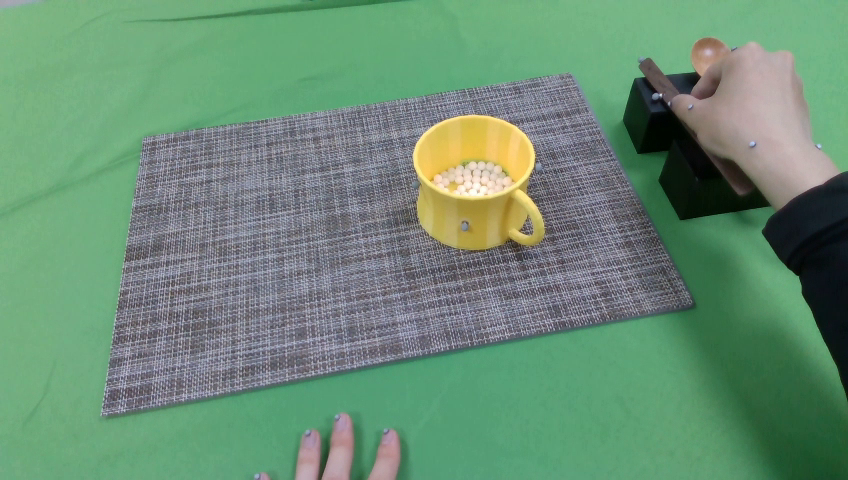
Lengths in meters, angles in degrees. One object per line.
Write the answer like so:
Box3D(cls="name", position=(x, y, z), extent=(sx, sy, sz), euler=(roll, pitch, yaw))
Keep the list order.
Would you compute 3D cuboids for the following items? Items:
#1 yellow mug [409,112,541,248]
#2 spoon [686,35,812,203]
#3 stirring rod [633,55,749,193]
Box3D(cls="yellow mug", position=(0.049, -0.043, 0.508), extent=(0.100, 0.064, 0.129), euler=(-36, 60, -23))
Box3D(cls="spoon", position=(0.277, -0.110, 0.520), extent=(0.041, 0.022, 0.191), euler=(-11, 55, -4))
Box3D(cls="stirring rod", position=(0.225, -0.105, 0.522), extent=(0.014, 0.006, 0.174), euler=(-37, 50, 23))
